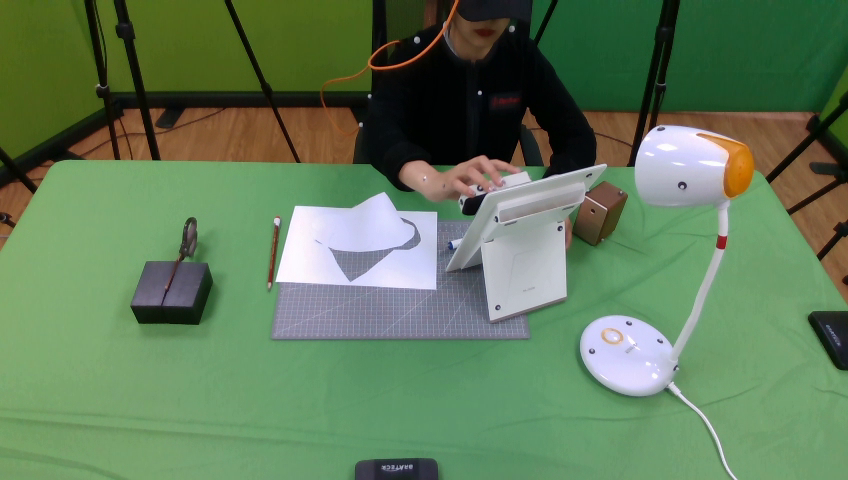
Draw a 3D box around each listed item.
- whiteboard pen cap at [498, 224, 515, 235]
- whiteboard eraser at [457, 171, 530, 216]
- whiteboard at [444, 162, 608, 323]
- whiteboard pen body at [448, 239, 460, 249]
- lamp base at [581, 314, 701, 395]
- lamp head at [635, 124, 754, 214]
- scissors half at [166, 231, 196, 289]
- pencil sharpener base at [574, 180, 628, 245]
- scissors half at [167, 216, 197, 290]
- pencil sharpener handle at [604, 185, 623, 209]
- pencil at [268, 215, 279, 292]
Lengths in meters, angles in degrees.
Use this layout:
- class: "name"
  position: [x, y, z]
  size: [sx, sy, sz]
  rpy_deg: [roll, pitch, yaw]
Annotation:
- class: "whiteboard pen cap"
  position: [0.166, -0.019, 1.222]
  size: [0.033, 0.018, 0.018]
  rpy_deg: [-16, 49, -18]
- class: "whiteboard eraser"
  position: [0.111, -0.071, 0.960]
  size: [0.113, 0.056, 0.041]
  rpy_deg: [-17, 69, -11]
- class: "whiteboard"
  position: [0.186, 0.025, 1.029]
  size: [0.217, 0.306, 0.143]
  rpy_deg: [-14, 68, -18]
- class: "whiteboard pen body"
  position: [0.112, -0.005, 1.203]
  size: [0.141, 0.017, 0.017]
  rpy_deg: [-14, 49, -18]
- class: "lamp base"
  position: [0.361, 0.145, 0.973]
  size: [0.178, 0.181, 0.160]
  rpy_deg: [34, 53, 23]
- class: "lamp head"
  position: [0.351, -0.089, 0.775]
  size: [0.112, 0.113, 0.122]
  rpy_deg: [-30, 30, -28]
- class: "scissors half"
  position: [-0.441, 0.036, 1.098]
  size: [0.013, 0.040, 0.174]
  rpy_deg: [12, 28, -10]
- class: "pencil sharpener base"
  position: [0.356, -0.056, 1.217]
  size: [0.076, 0.107, 0.061]
  rpy_deg: [-33, 56, -31]
- class: "scissors half"
  position: [-0.436, 0.020, 1.086]
  size: [0.013, 0.040, 0.174]
  rpy_deg: [7, 47, -8]
- class: "pencil sharpener handle"
  position: [0.390, -0.091, 1.235]
  size: [0.030, 0.068, 0.036]
  rpy_deg: [-33, 70, -31]
- class: "pencil"
  position: [-0.290, 0.023, 1.164]
  size: [0.012, 0.012, 0.192]
  rpy_deg: [-2, 48, -6]
